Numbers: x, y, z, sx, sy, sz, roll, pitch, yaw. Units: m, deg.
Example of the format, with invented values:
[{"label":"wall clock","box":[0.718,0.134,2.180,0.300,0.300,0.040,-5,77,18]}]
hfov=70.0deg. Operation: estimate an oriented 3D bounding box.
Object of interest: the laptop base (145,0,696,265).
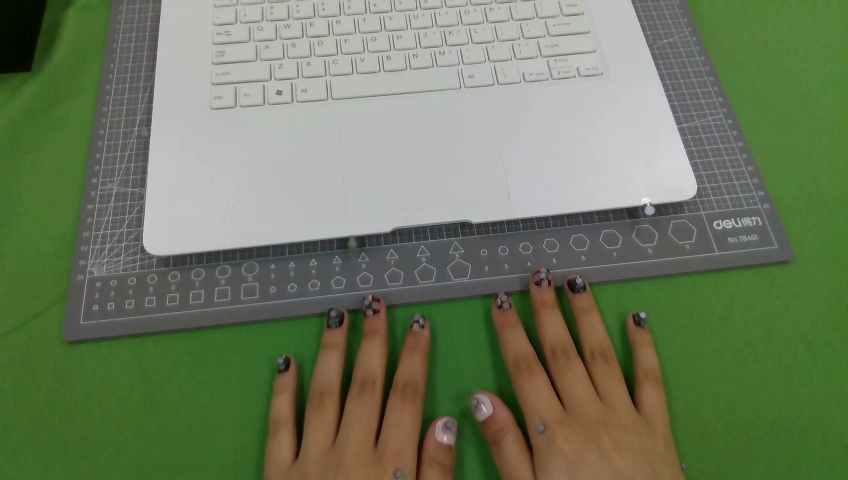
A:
[{"label":"laptop base","box":[-0.010,-0.105,0.434,0.355,0.023,0.233,-7,66,-4]}]
